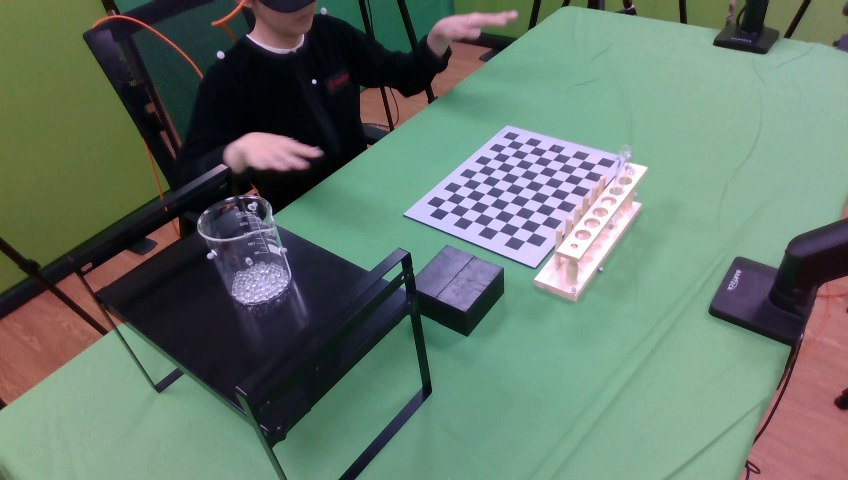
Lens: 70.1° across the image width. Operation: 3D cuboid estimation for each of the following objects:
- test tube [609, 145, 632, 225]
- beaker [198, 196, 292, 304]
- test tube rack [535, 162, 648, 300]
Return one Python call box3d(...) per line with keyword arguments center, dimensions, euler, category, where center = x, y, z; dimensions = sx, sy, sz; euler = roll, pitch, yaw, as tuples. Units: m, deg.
box3d(center=(0.290, -0.078, 0.897), dimensions=(0.017, 0.151, 0.017), euler=(-4, 46, 5), category="test tube")
box3d(center=(-0.185, 0.014, 0.651), dimensions=(0.083, 0.101, 0.074), euler=(9, 44, 18), category="beaker")
box3d(center=(0.257, -0.024, 0.916), dimensions=(0.066, 0.085, 0.243), euler=(22, 49, 30), category="test tube rack")
